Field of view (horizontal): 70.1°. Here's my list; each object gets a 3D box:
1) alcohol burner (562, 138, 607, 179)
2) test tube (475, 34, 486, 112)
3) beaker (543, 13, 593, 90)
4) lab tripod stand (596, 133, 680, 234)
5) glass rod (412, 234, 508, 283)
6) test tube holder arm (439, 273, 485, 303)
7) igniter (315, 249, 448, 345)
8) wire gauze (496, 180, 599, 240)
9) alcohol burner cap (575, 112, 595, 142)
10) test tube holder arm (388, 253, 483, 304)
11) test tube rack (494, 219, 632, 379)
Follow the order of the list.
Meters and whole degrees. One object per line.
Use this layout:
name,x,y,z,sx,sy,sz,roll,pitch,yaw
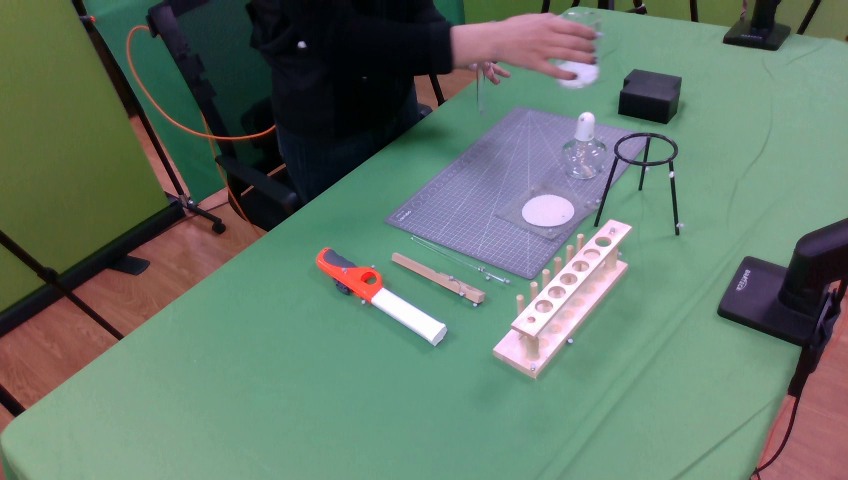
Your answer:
alcohol burner,0.280,-0.167,1.052,0.078,0.119,0.077,-5,39,4
test tube,0.104,-0.304,1.109,0.017,0.151,0.017,-4,41,4
beaker,0.229,-0.297,0.954,0.073,0.101,0.084,3,38,20
lab tripod stand,0.338,-0.091,0.940,0.148,0.132,0.147,-7,39,6
glass rod,0.052,0.027,0.951,0.198,0.008,0.008,26,52,37
test tube holder arm,0.052,0.071,0.896,0.087,0.015,0.010,24,13,33
igniter,-0.074,0.078,0.902,0.274,0.025,0.057,28,63,36
wire gauze,0.206,-0.050,1.012,0.125,0.011,0.120,-34,45,-26
alcohol burner cap,0.276,-0.194,1.028,0.034,0.048,0.033,-2,44,3
test tube holder arm,0.014,0.056,0.915,0.177,0.015,0.013,23,13,32
test tube rack,0.191,0.068,0.818,0.066,0.085,0.243,25,51,35
